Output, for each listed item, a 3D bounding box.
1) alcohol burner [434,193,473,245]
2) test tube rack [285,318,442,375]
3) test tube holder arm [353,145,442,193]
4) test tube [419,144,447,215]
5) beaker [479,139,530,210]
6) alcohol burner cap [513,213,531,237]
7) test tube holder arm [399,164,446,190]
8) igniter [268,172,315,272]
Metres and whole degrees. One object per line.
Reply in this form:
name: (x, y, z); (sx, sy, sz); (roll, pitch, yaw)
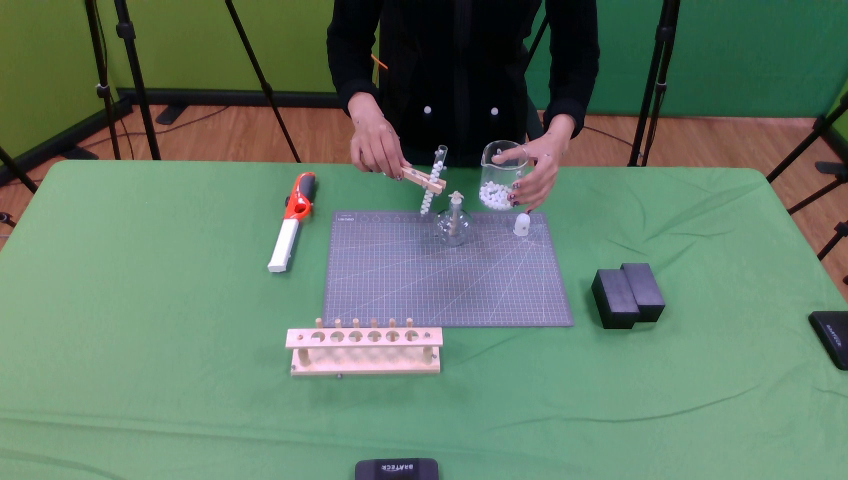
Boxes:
alcohol burner: (0.059, -0.046, 1.180); (0.078, 0.120, 0.077); (1, 48, -1)
test tube rack: (-0.095, 0.168, 0.986); (0.242, 0.085, 0.066); (0, 46, -4)
test tube holder arm: (-0.047, -0.123, 1.032); (0.178, 0.015, 0.013); (26, 41, 17)
test tube: (0.014, -0.098, 1.014); (0.017, 0.151, 0.017); (9, 45, -9)
beaker: (0.128, -0.105, 1.013); (0.084, 0.101, 0.073); (-18, 50, -18)
alcohol burner cap: (0.200, -0.034, 1.227); (0.034, 0.048, 0.033); (1, 45, -1)
test tube holder arm: (-0.005, -0.107, 1.025); (0.087, 0.015, 0.010); (21, 40, 11)
igniter: (-0.264, -0.045, 1.219); (0.057, 0.025, 0.275); (-2, 45, 8)
